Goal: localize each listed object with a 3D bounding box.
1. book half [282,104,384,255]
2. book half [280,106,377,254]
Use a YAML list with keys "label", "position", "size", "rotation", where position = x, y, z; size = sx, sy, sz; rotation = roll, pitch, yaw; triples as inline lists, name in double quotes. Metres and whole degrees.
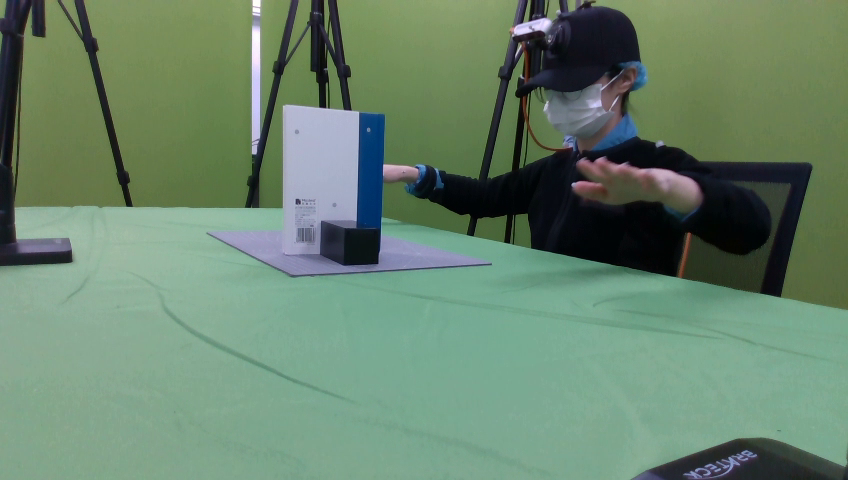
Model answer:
- label: "book half"
  position: [-0.132, -0.084, 0.881]
  size: [0.149, 0.210, 0.016]
  rotation: [-1, 8, -27]
- label: "book half"
  position: [-0.137, -0.084, 0.886]
  size: [0.144, 0.210, 0.007]
  rotation: [-1, 8, -26]
